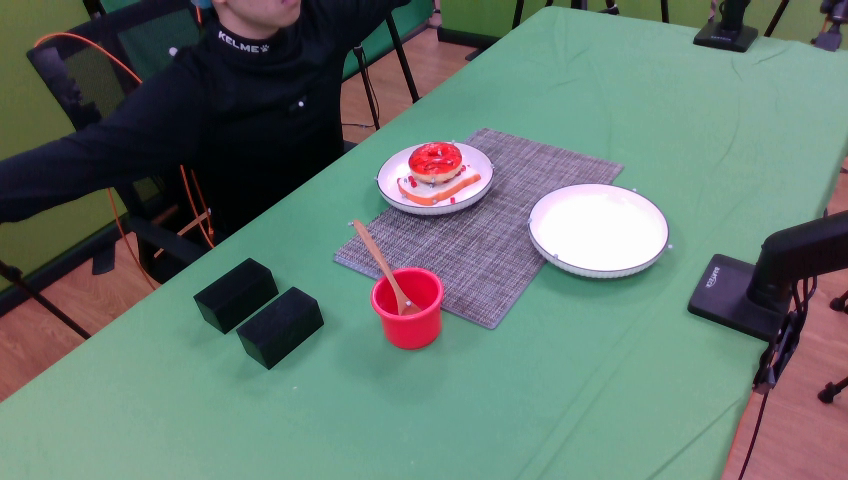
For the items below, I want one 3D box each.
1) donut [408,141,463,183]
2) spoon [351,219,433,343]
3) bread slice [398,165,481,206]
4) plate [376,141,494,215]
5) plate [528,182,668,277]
[{"bbox_3d":[0.020,-0.138,1.058,0.099,0.048,0.098,-4,39,4],"label":"donut"},{"bbox_3d":[-0.045,0.054,0.820,0.042,0.021,0.193,-29,89,-21],"label":"spoon"},{"bbox_3d":[0.021,-0.107,1.077,0.132,0.019,0.104,-32,46,-28],"label":"bread slice"},{"bbox_3d":[0.021,-0.106,1.073,0.209,0.038,0.208,-4,40,4],"label":"plate"},{"bbox_3d":[0.264,-0.014,0.933,0.207,0.039,0.206,-3,42,3],"label":"plate"}]
